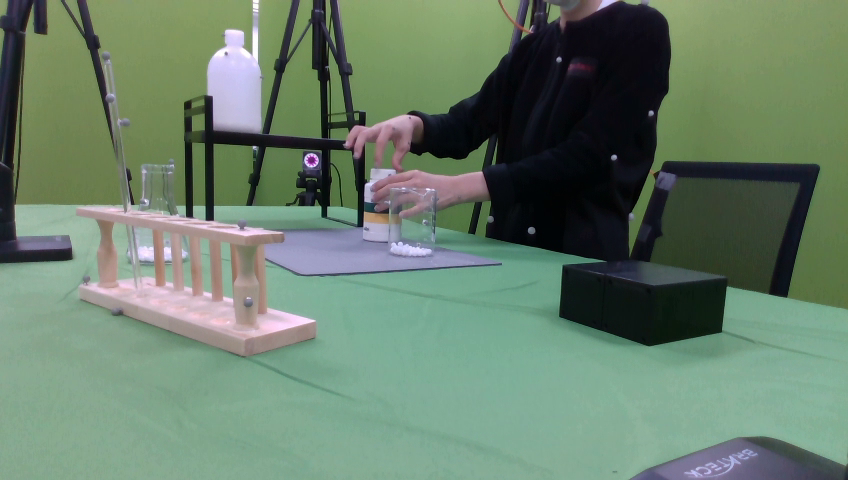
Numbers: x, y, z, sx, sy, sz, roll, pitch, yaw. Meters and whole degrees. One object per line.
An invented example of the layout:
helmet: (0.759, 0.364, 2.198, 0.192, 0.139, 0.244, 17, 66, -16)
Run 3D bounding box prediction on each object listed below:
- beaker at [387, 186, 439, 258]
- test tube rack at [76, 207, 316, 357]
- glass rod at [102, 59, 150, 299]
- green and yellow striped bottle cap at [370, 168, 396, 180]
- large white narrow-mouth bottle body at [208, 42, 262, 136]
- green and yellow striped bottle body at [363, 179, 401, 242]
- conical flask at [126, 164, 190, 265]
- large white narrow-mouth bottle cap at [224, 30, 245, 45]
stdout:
beaker: (-0.015, -0.027, 0.885, 0.074, 0.100, 0.083, -1, 8, -20)
test tube rack: (-0.196, 0.023, 0.500, 0.241, 0.085, 0.067, 8, 9, 36)
glass rod: (-0.243, -0.045, 0.496, 0.008, 0.199, 0.008, -4, 13, 1)
green and yellow striped bottle cap: (-0.069, -0.112, 1.028, 0.045, 0.020, 0.045, 1, 7, 0)
large white narrow-mouth bottle body: (-0.368, -0.304, 1.181, 0.102, 0.194, 0.101, 2, 9, 0)
green and yellow striped bottle body: (-0.072, -0.059, 1.036, 0.063, 0.119, 0.063, 3, 8, 0)
conical flask: (-0.332, -0.033, 0.756, 0.075, 0.122, 0.075, 2, 7, 0)
large white narrow-mouth bottle cap: (-0.365, -0.389, 1.166, 0.038, 0.024, 0.037, 2, 9, 0)
